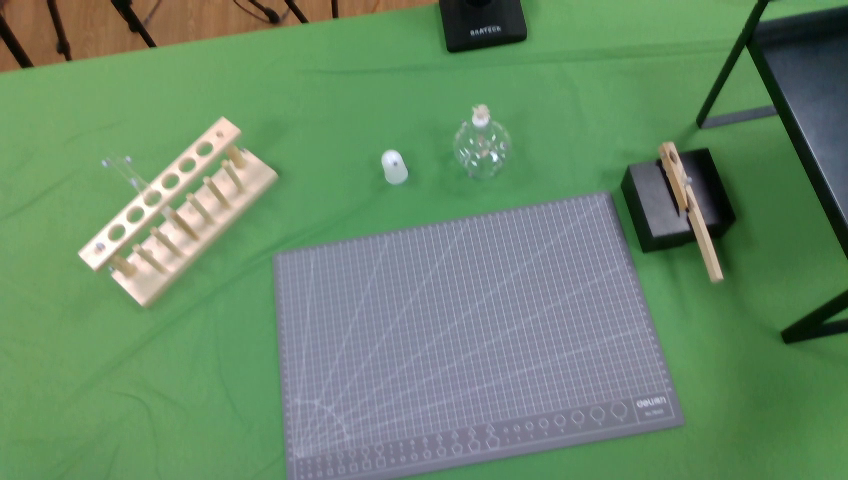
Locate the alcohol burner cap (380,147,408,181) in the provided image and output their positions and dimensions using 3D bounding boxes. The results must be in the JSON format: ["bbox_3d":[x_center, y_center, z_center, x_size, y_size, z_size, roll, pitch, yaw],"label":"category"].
[{"bbox_3d":[-0.042,-0.105,0.810,0.034,0.048,0.033,-4,63,8],"label":"alcohol burner cap"}]

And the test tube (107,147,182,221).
[{"bbox_3d":[-0.337,-0.063,0.741,0.017,0.151,0.017,-3,62,7],"label":"test tube"}]

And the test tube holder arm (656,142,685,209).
[{"bbox_3d":[0.298,-0.078,0.728,0.010,0.015,0.087,-4,67,-14],"label":"test tube holder arm"}]

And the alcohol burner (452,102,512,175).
[{"bbox_3d":[0.074,-0.134,0.775,0.078,0.120,0.077,-2,65,6],"label":"alcohol burner"}]

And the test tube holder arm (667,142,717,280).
[{"bbox_3d":[0.311,-0.038,0.712,0.013,0.015,0.177,-4,67,-13],"label":"test tube holder arm"}]

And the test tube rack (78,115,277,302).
[{"bbox_3d":[-0.309,-0.041,0.784,0.066,0.086,0.242,37,75,18],"label":"test tube rack"}]
